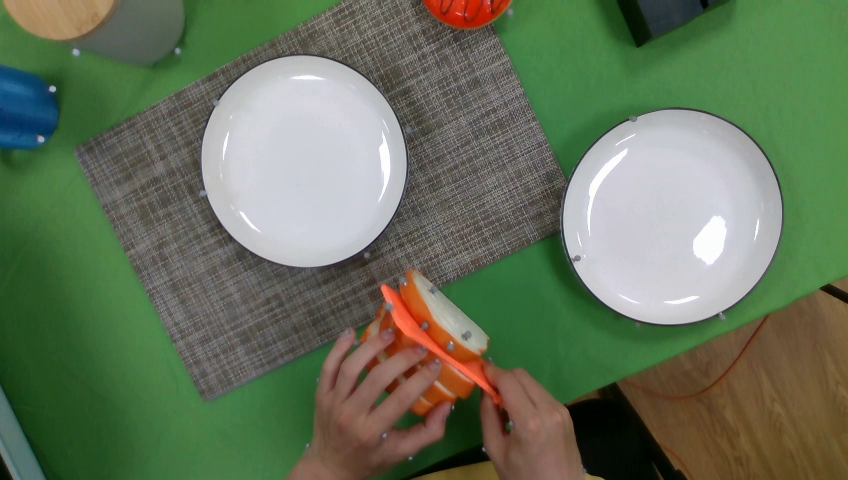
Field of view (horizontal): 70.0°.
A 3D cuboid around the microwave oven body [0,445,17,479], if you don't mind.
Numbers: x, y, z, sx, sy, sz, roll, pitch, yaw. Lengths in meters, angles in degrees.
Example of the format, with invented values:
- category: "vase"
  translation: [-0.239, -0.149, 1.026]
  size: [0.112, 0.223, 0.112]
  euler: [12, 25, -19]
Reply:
- category: "microwave oven body"
  translation: [-0.617, 0.222, 0.563]
  size: [0.326, 0.260, 0.442]
  euler: [-23, 95, 5]

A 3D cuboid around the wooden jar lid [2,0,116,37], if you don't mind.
- category: "wooden jar lid"
  translation: [-0.300, -0.222, 0.502]
  size: [0.108, 0.020, 0.108]
  euler: [0, 95, 5]

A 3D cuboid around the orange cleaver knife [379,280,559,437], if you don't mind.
- category: "orange cleaver knife"
  translation: [0.041, 0.106, 0.545]
  size: [0.213, 0.076, 0.012]
  euler: [40, 100, -18]

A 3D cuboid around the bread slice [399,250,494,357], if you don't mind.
- category: "bread slice"
  translation: [0.022, 0.062, 0.569]
  size: [0.018, 0.134, 0.107]
  euler: [-42, 89, 12]

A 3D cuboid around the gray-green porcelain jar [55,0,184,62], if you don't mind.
- category: "gray-green porcelain jar"
  translation: [-0.295, -0.227, 0.564]
  size: [0.106, 0.126, 0.106]
  euler: [0, 95, 4]

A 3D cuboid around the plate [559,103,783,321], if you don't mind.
- category: "plate"
  translation: [0.235, -0.027, 0.593]
  size: [0.209, 0.038, 0.209]
  euler: [0, 96, 4]

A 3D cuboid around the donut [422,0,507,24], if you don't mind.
- category: "donut"
  translation: [0.038, -0.256, 0.575]
  size: [0.099, 0.048, 0.099]
  euler: [0, 97, 4]

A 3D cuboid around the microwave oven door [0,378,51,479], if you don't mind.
- category: "microwave oven door"
  translation: [-0.467, 0.206, 0.546]
  size: [0.039, 0.243, 0.356]
  euler: [-23, 94, 6]

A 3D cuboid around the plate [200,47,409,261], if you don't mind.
- category: "plate"
  translation: [-0.117, -0.083, 0.608]
  size: [0.207, 0.039, 0.208]
  euler: [0, 96, 4]

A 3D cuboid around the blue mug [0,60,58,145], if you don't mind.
- category: "blue mug"
  translation: [-0.442, -0.125, 0.595]
  size: [0.082, 0.106, 0.116]
  euler: [38, 97, 0]

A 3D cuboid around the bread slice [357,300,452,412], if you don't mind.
- category: "bread slice"
  translation: [-0.020, 0.111, 0.579]
  size: [0.105, 0.131, 0.019]
  euler: [42, 101, -1]
